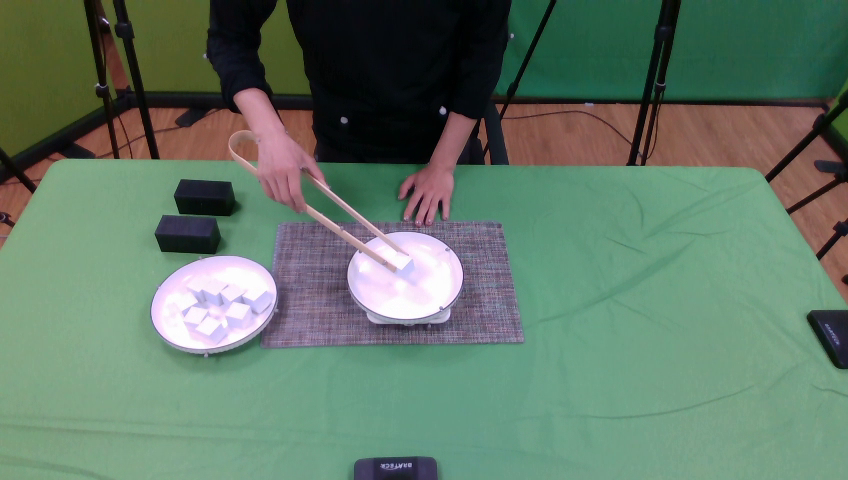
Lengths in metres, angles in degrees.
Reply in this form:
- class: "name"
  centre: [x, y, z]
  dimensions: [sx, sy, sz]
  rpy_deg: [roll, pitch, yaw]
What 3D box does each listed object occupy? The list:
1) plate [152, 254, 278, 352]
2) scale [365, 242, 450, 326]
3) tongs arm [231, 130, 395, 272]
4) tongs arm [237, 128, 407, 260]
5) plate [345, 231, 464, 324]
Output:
- class: "plate"
  centre: [-0.357, 0.111, 1.052]
  dimensions: [0.208, 0.039, 0.206]
  rpy_deg: [2, 46, -2]
- class: "scale"
  centre: [-0.032, 0.071, 1.113]
  dimensions: [0.149, 0.032, 0.199]
  rpy_deg: [0, 46, -4]
- class: "tongs arm"
  centre: [-0.196, -0.070, 1.068]
  dimensions: [0.384, 0.026, 0.050]
  rpy_deg: [34, 67, 8]
- class: "tongs arm"
  centre: [-0.182, -0.086, 1.076]
  dimensions: [0.386, 0.028, 0.028]
  rpy_deg: [38, 71, 10]
- class: "plate"
  centre: [-0.034, 0.069, 1.069]
  dimensions: [0.209, 0.038, 0.208]
  rpy_deg: [2, 46, -2]
